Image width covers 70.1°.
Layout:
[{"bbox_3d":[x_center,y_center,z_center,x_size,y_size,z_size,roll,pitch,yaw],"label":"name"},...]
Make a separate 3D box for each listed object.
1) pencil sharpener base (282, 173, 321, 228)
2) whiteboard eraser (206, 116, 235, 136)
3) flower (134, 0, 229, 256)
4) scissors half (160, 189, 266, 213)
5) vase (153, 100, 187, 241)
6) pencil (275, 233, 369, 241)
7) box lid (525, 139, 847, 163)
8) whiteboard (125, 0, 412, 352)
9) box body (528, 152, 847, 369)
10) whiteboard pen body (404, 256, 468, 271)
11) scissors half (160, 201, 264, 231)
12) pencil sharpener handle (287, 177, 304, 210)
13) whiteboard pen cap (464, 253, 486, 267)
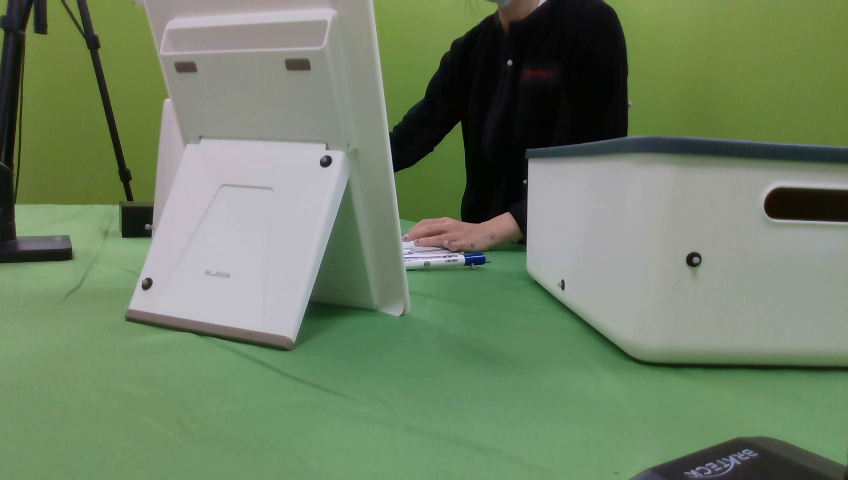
[{"bbox_3d":[-0.247,-0.080,1.212,0.061,0.107,0.076,-2,5,-28],"label":"pencil sharpener base"},{"bbox_3d":[-0.450,-0.252,1.335,0.056,0.042,0.112,1,7,-22],"label":"whiteboard eraser"},{"bbox_3d":[-0.282,-0.146,0.713,0.038,0.362,0.044,-23,24,-31],"label":"flower"},{"bbox_3d":[-0.367,-0.067,1.059,0.176,0.040,0.013,-5,5,-25],"label":"scissors half"},{"bbox_3d":[-0.278,-0.066,0.736,0.098,0.200,0.098,2,9,0],"label":"vase"},{"bbox_3d":[-0.169,-0.006,1.036,0.195,0.012,0.012,-2,9,-45],"label":"pencil"},{"bbox_3d":[0.261,-0.078,0.580,0.264,0.015,0.371,2,7,-4],"label":"box lid"},{"bbox_3d":[-0.151,-0.049,0.472,0.216,0.305,0.144,6,27,24],"label":"whiteboard"},{"bbox_3d":[0.258,-0.005,0.591,0.254,0.160,0.363,2,7,-4],"label":"box body"},{"bbox_3d":[0.013,0.030,0.792,0.141,0.017,0.017,-3,9,-24],"label":"whiteboard pen body"},{"bbox_3d":[-0.370,-0.047,1.061,0.176,0.040,0.012,14,3,-26],"label":"scissors half"},{"bbox_3d":[-0.269,-0.096,1.257,0.036,0.067,0.030,-8,8,-27],"label":"pencil sharpener handle"},{"bbox_3d":[0.066,0.027,0.818,0.033,0.018,0.018,-5,10,-24],"label":"whiteboard pen cap"}]
